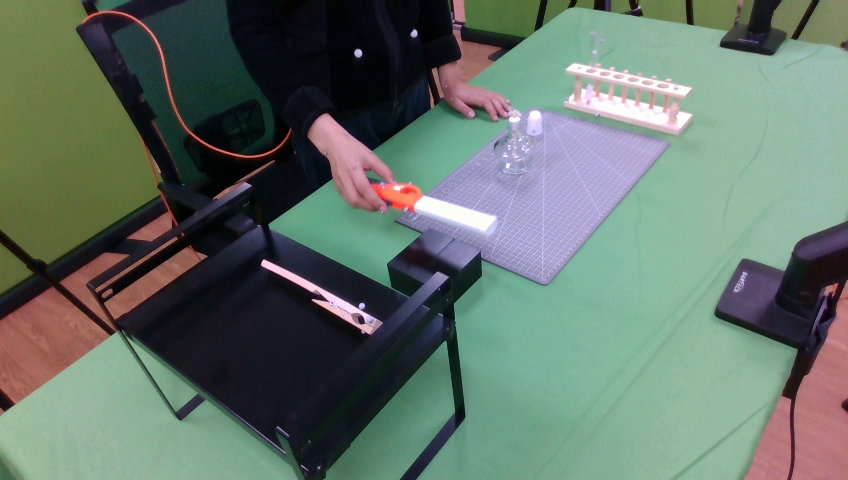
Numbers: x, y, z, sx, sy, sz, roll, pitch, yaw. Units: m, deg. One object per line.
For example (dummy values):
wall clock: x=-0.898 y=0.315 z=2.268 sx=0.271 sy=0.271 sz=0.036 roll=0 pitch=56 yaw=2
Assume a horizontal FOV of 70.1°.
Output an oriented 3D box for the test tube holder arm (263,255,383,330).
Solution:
test tube holder arm: x=-0.113 y=0.054 z=0.647 sx=0.177 sy=0.015 sz=0.013 roll=26 pitch=80 yaw=33

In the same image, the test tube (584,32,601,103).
test tube: x=0.333 y=-0.338 z=1.198 sx=0.017 sy=0.151 sz=0.017 roll=-3 pitch=45 yaw=3

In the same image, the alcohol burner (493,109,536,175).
alcohol burner: x=0.163 y=-0.179 z=1.087 sx=0.078 sy=0.119 sz=0.077 roll=-5 pitch=39 yaw=5

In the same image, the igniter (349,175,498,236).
igniter: x=-0.012 y=-0.056 z=0.894 sx=0.274 sy=0.025 sz=0.057 roll=19 pitch=49 yaw=35

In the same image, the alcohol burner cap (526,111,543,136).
alcohol burner cap: x=0.219 y=-0.232 z=1.196 sx=0.034 sy=0.048 sz=0.033 roll=-4 pitch=41 yaw=4

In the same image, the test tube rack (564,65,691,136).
test tube rack: x=0.404 y=-0.288 z=1.204 sx=0.240 sy=0.085 sz=0.067 roll=24 pitch=49 yaw=32

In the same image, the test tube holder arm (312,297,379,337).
test tube holder arm: x=-0.082 y=0.075 z=0.622 sx=0.087 sy=0.015 sz=0.010 roll=27 pitch=80 yaw=33
